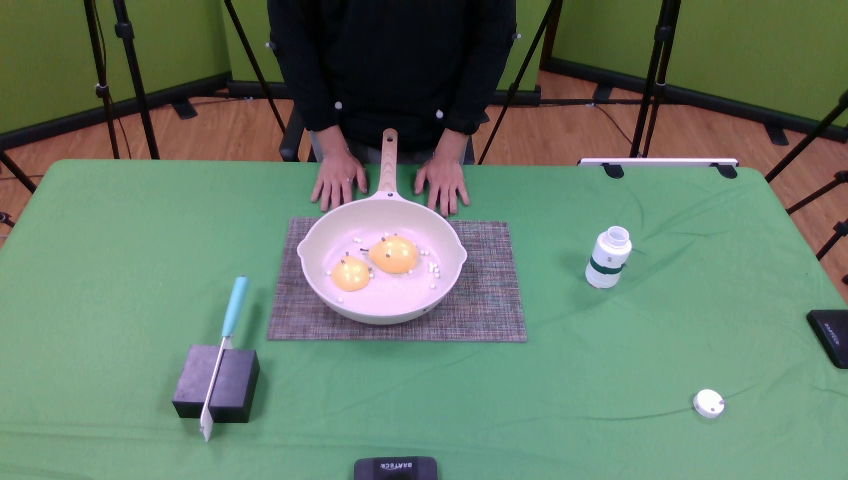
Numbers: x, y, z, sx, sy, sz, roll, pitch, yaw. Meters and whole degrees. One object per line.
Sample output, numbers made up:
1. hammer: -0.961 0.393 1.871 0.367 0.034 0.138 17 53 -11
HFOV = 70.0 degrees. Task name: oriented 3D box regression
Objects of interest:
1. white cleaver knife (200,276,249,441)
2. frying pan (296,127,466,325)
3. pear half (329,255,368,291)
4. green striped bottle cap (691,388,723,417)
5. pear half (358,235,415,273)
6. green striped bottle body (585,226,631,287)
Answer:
1. white cleaver knife: -0.321 0.177 0.971 0.021 0.066 0.284 7 48 -5
2. frying pan: -0.076 -0.044 1.172 0.307 0.103 0.485 3 55 -2
3. pear half: -0.140 0.053 1.122 0.070 0.031 0.087 -7 50 -17
4. green striped bottle cap: 0.460 0.263 0.984 0.044 0.020 0.044 3 46 -3
5. pear half: -0.074 0.017 1.146 0.110 0.056 0.076 9 41 7
6. green striped bottle body: 0.344 0.028 1.129 0.063 0.120 0.063 2 46 -2
